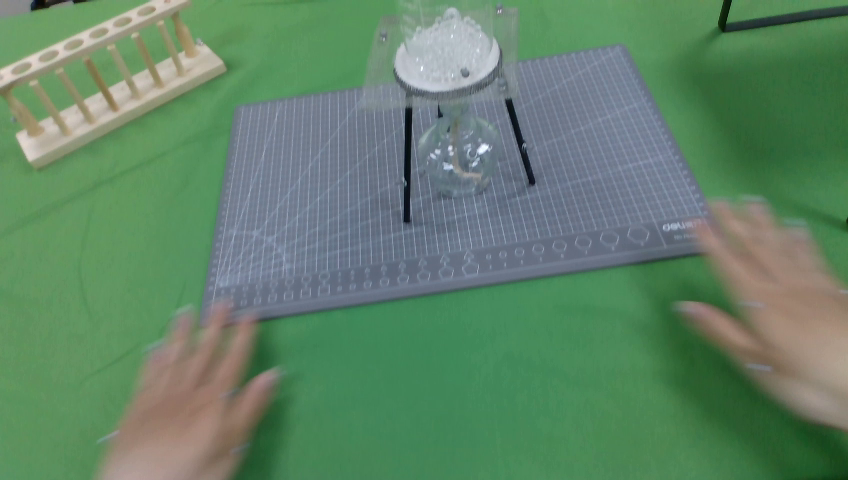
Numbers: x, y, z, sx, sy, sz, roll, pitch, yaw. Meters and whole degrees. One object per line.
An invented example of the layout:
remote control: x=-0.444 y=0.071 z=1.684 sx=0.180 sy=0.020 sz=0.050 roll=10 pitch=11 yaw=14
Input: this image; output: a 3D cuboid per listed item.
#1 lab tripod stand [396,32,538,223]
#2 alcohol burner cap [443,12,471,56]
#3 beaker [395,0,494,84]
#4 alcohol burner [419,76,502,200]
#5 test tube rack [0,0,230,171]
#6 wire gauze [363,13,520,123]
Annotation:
lab tripod stand: x=0.028 y=-0.099 z=0.536 sx=0.148 sy=0.133 sz=0.147 roll=-4 pitch=53 yaw=6
alcohol burner cap: x=0.039 y=-0.246 z=0.718 sx=0.034 sy=0.048 sz=0.033 roll=-5 pitch=51 yaw=6
beaker: x=0.013 y=-0.175 z=0.451 sx=0.083 sy=0.101 sz=0.074 roll=24 pitch=60 yaw=26
alcohol burner: x=0.031 y=-0.094 z=0.545 sx=0.078 sy=0.120 sz=0.077 roll=-5 pitch=49 yaw=6
test tube rack: x=-0.361 y=-0.185 z=0.701 sx=0.242 sy=0.086 sz=0.066 roll=-34 pitch=54 yaw=-18
wire gauze: x=0.016 y=-0.144 z=0.489 sx=0.121 sy=0.011 sz=0.124 roll=-1 pitch=55 yaw=10
